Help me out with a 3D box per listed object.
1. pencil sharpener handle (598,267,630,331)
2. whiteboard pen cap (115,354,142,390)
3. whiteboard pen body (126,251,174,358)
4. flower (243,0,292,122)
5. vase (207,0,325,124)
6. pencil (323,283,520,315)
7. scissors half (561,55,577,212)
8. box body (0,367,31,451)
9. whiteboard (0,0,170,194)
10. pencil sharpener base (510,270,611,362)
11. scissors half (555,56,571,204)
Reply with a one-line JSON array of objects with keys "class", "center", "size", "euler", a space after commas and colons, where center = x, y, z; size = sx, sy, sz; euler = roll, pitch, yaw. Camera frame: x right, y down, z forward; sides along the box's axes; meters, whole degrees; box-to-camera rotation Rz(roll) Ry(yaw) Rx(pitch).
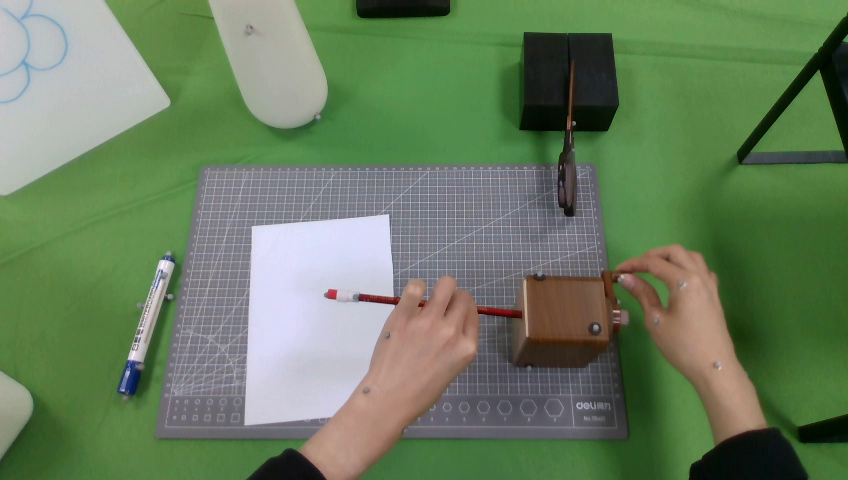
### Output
[{"class": "pencil sharpener handle", "center": [0.174, 0.051, 0.544], "size": [0.030, 0.036, 0.067], "euler": [1, 48, 2]}, {"class": "whiteboard pen cap", "center": [-0.289, 0.129, 0.595], "size": [0.018, 0.018, 0.033], "euler": [6, 63, 4]}, {"class": "whiteboard pen body", "center": [-0.282, 0.076, 0.619], "size": [0.017, 0.017, 0.140], "euler": [6, 66, 4]}, {"class": "flower", "center": [-0.177, -0.256, 0.568], "size": [0.044, 0.365, 0.038], "euler": [-7, 49, 2]}, {"class": "vase", "center": [-0.167, -0.211, 0.639], "size": [0.098, 0.201, 0.097], "euler": [-1, 66, 3]}, {"class": "pencil", "center": [0.007, 0.054, 0.535], "size": [0.194, 0.012, 0.012], "euler": [7, 67, -1]}, {"class": "scissors half", "center": [0.158, -0.117, 0.658], "size": [0.012, 0.040, 0.175], "euler": [-1, 86, 27]}, {"class": "box body", "center": [-0.579, 0.147, 0.518], "size": [0.363, 0.161, 0.253], "euler": [25, 70, 11]}, {"class": "whiteboard", "center": [-0.461, -0.243, 0.635], "size": [0.217, 0.309, 0.142], "euler": [-33, 51, -11]}, {"class": "pencil sharpener base", "center": [0.123, 0.073, 0.560], "size": [0.077, 0.108, 0.061], "euler": [0, 66, 2]}, {"class": "scissors half", "center": [0.150, -0.121, 0.639], "size": [0.013, 0.040, 0.174], "euler": [0, 68, 21]}]
